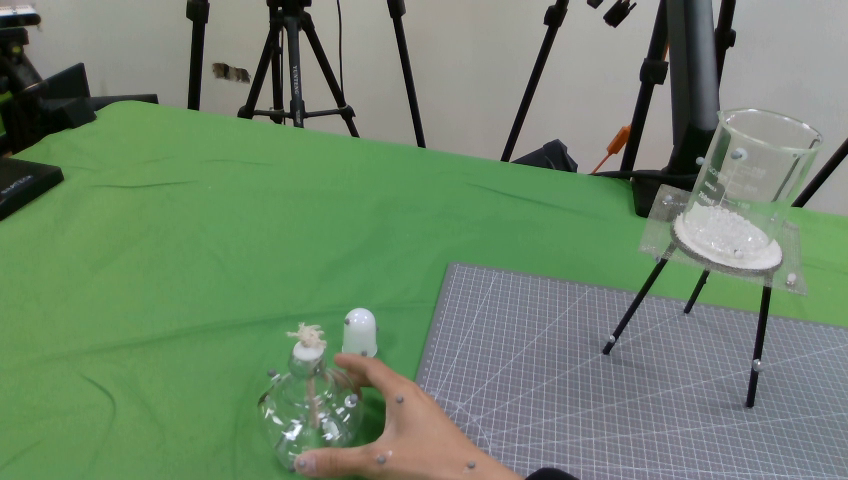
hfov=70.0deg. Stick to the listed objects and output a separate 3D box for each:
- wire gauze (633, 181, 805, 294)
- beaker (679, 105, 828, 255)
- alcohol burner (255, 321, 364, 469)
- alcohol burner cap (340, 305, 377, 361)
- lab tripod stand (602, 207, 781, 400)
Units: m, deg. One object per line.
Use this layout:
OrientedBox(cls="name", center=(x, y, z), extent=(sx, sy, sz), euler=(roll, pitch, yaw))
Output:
OrientedBox(cls="wire gauze", center=(0.245, -0.005, 0.500), extent=(0.121, 0.011, 0.124), euler=(18, 39, 18))
OrientedBox(cls="beaker", center=(0.248, -0.046, 0.474), extent=(0.074, 0.101, 0.083), euler=(-15, 40, -27))
OrientedBox(cls="alcohol burner", center=(-0.083, 0.107, 0.434), extent=(0.078, 0.120, 0.077), euler=(2, 34, -1))
OrientedBox(cls="alcohol burner cap", center=(-0.058, 0.080, 0.539), extent=(0.034, 0.048, 0.033), euler=(3, 34, -2))
OrientedBox(cls="lab tripod stand", center=(0.247, 0.051, 0.536), extent=(0.148, 0.132, 0.147), euler=(5, 35, -3))
